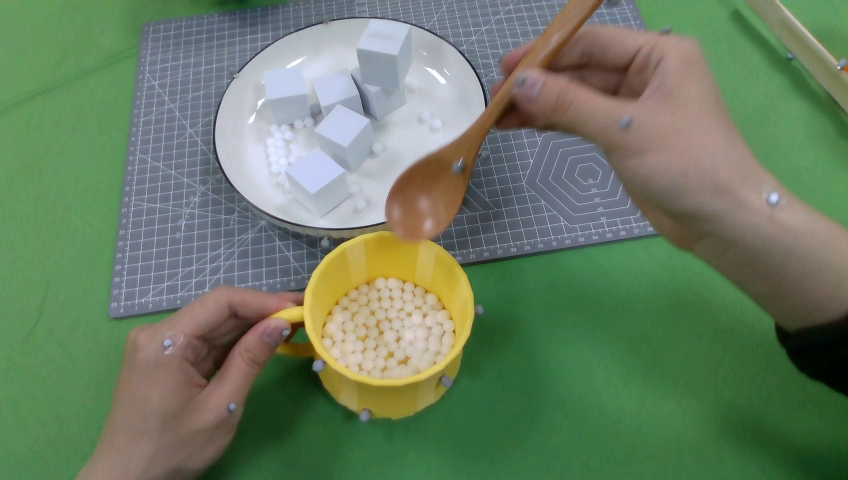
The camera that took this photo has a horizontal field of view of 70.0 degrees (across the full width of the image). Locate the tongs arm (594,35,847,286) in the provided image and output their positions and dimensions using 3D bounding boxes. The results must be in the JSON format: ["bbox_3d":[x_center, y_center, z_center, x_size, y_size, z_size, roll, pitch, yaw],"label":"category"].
[{"bbox_3d":[0.258,-0.027,0.428,0.028,0.028,0.384,-32,66,-17],"label":"tongs arm"}]

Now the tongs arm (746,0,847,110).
[{"bbox_3d":[0.331,-0.063,0.441,0.051,0.027,0.381,-21,64,-9],"label":"tongs arm"}]

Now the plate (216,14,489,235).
[{"bbox_3d":[-0.053,-0.090,0.473,0.207,0.039,0.206,-1,62,3],"label":"plate"}]

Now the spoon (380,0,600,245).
[{"bbox_3d":[0.038,-0.068,0.311,0.041,0.194,0.021,45,32,7],"label":"spoon"}]

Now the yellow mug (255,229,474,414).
[{"bbox_3d":[-0.037,0.053,0.374,0.131,0.064,0.099,-6,59,-7],"label":"yellow mug"}]
